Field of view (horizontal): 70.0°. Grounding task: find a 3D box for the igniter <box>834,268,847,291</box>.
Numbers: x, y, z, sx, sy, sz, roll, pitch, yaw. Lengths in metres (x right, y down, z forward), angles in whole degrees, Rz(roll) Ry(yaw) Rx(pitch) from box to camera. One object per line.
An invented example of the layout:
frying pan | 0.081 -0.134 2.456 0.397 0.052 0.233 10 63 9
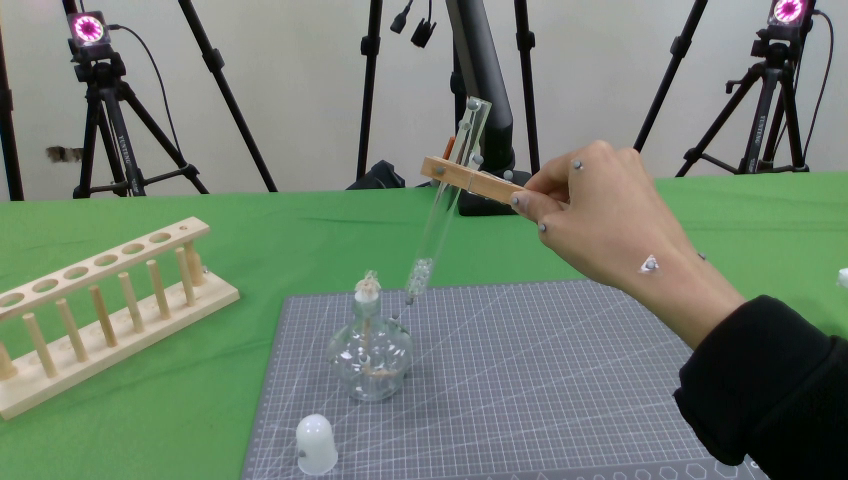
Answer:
igniter | 0.444 0.097 0.499 0.057 0.025 0.274 -4 27 -3

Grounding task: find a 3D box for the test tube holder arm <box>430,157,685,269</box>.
test tube holder arm | 0.080 -0.021 0.396 0.177 0.015 0.013 23 20 20

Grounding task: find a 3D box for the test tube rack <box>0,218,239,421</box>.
test tube rack | -0.317 0.068 0.610 0.066 0.086 0.242 24 39 36

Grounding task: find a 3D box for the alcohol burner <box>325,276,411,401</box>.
alcohol burner | -0.051 0.084 0.540 0.078 0.120 0.077 -1 29 1

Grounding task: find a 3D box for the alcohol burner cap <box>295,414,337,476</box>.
alcohol burner cap | -0.089 0.161 0.484 0.034 0.048 0.033 -1 31 1

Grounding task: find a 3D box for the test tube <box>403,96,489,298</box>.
test tube | 0.013 -0.026 0.422 0.017 0.151 0.017 18 18 -5

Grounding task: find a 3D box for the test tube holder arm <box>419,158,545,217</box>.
test tube holder arm | 0.038 -0.036 0.405 0.087 0.015 0.010 20 19 13
